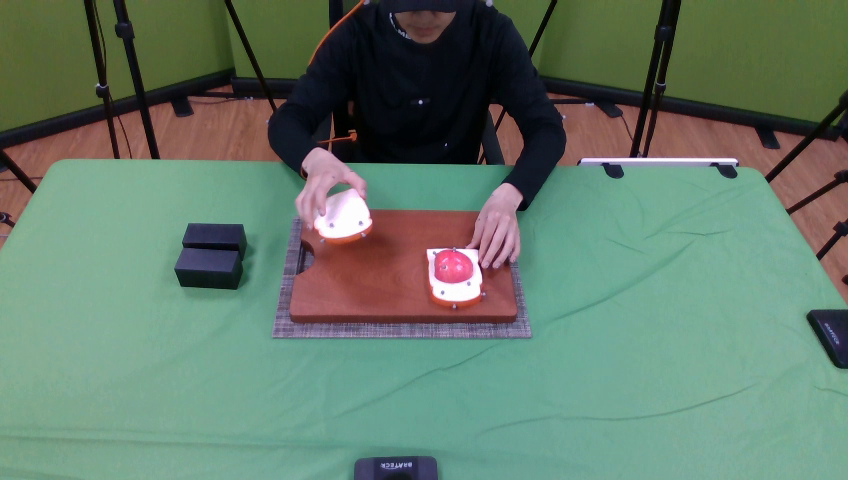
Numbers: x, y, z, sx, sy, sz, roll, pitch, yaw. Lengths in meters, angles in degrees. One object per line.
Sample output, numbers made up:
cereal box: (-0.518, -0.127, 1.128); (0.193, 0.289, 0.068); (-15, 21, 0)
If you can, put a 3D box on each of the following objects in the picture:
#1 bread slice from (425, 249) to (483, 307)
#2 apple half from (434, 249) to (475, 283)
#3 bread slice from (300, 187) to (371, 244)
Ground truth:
bread slice: (0.058, 0.066, 1.100); (0.105, 0.019, 0.130); (-1, 45, -3)
apple half: (0.054, 0.039, 1.092); (0.081, 0.033, 0.081); (1, 47, 0)
bread slice: (-0.149, -0.042, 1.067); (0.107, 0.018, 0.133); (-19, 42, -15)
